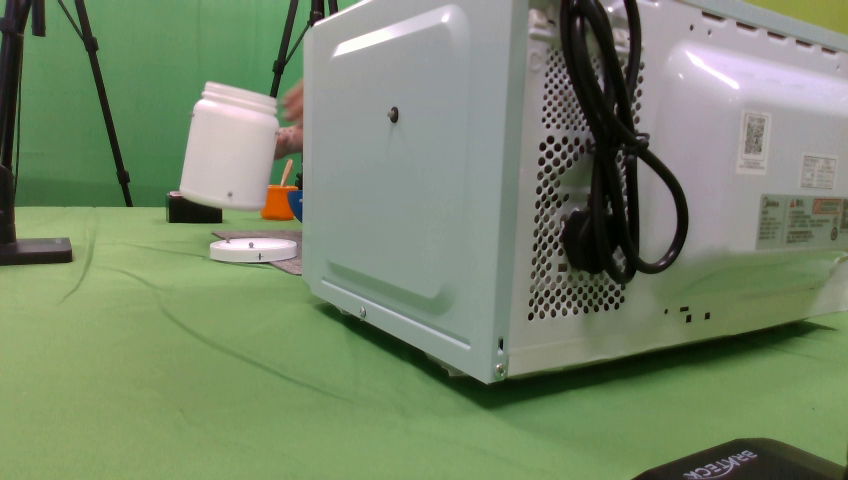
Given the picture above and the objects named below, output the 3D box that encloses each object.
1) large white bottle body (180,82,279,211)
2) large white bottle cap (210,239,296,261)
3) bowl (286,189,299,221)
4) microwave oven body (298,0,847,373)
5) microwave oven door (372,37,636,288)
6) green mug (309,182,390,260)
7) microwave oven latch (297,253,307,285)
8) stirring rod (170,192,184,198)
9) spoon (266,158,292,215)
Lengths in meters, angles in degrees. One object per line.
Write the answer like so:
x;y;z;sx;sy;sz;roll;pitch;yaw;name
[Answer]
-0.306;-0.148;0.965;0.131;0.184;0.130;13;8;-1;large white bottle body
-0.236;0.013;0.839;0.115;0.018;0.115;1;7;0;large white bottle cap
-0.179;-0.051;1.115;0.151;0.077;0.151;2;8;0;bowl
0.151;-0.055;0.542;0.444;0.260;0.324;-2;7;-33;microwave oven body
0.110;-0.080;0.687;0.358;0.243;0.039;-2;9;-33;microwave oven door
-0.102;-0.029;0.864;0.126;0.105;0.092;-3;8;-40;green mug
-0.082;0.027;0.582;0.079;0.029;0.030;-2;7;-33;microwave oven latch
-0.465;-0.098;1.283;0.014;0.006;0.177;42;21;17;stirring rod
-0.334;-0.128;1.423;0.041;0.193;0.022;0;-38;7;spoon
